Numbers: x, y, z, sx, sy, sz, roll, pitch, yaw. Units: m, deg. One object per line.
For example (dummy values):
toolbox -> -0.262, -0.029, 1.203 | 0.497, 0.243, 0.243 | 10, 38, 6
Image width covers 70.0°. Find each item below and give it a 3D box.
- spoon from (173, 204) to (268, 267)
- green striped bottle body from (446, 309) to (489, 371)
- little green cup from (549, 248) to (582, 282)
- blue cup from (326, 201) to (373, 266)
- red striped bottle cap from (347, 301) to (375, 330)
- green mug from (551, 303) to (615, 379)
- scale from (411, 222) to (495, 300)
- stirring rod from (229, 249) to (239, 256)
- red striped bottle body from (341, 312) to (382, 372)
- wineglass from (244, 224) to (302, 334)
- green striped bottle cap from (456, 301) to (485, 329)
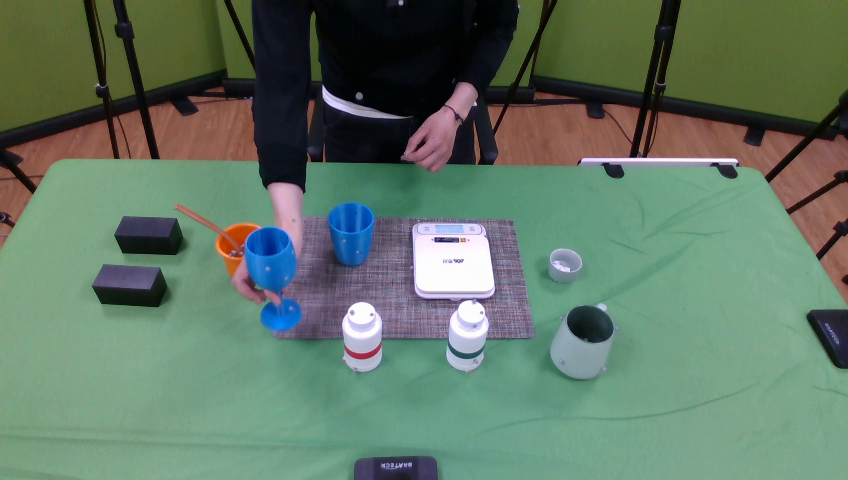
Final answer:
spoon -> -0.363, -0.009, 1.089 | 0.021, 0.195, 0.041 | -35, 31, 22
green striped bottle body -> 0.070, 0.155, 0.984 | 0.063, 0.120, 0.063 | 2, 46, -2
little green cup -> 0.268, 0.050, 1.156 | 0.061, 0.039, 0.061 | 2, 46, -1
blue cup -> -0.138, -0.006, 1.131 | 0.093, 0.101, 0.092 | 3, 45, -3
red striped bottle cap -> -0.097, 0.116, 0.934 | 0.044, 0.018, 0.044 | 2, 50, -3
green mug -> 0.271, 0.157, 1.007 | 0.092, 0.105, 0.125 | 27, 50, 21
scale -> 0.052, 0.031, 1.158 | 0.149, 0.032, 0.199 | 1, 46, -4
stirring rod -> -0.331, 0.022, 1.058 | 0.014, 0.176, 0.006 | 31, 80, -13
red striped bottle body -> -0.100, 0.154, 0.972 | 0.063, 0.120, 0.062 | 2, 46, -1
wineglass -> -0.224, 0.060, 0.911 | 0.074, 0.173, 0.073 | 2, 45, -2
green striped bottle cap -> 0.073, 0.116, 0.943 | 0.044, 0.020, 0.044 | 3, 46, -3
